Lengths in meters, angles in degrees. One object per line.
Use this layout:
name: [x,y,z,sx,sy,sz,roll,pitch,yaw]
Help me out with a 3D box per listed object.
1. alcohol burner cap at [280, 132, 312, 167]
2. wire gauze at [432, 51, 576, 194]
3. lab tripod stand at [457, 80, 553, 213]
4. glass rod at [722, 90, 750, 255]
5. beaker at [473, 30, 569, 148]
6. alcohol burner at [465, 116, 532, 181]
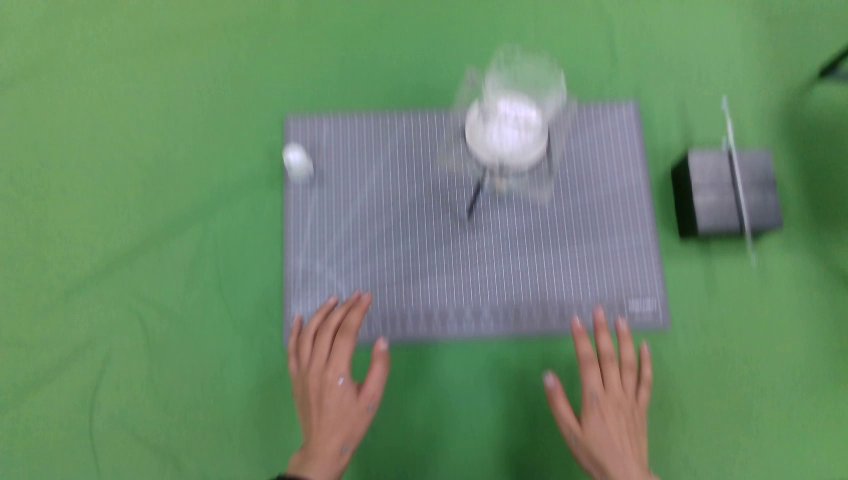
alcohol burner cap: [-0.154,-0.109,0.720,0.034,0.048,0.033,0,77,1]
wire gauze: [0.083,-0.123,0.615,0.125,0.011,0.121,19,79,0]
lab tripod stand: [0.085,-0.110,0.679,0.148,0.132,0.147,1,76,-2]
glass rod: [0.359,-0.080,0.696,0.008,0.008,0.199,-1,78,-1]
beaker: [0.083,-0.137,0.569,0.074,0.100,0.083,-26,79,-8]
alcohol burner: [0.088,-0.111,0.690,0.078,0.119,0.077,1,77,-3]
